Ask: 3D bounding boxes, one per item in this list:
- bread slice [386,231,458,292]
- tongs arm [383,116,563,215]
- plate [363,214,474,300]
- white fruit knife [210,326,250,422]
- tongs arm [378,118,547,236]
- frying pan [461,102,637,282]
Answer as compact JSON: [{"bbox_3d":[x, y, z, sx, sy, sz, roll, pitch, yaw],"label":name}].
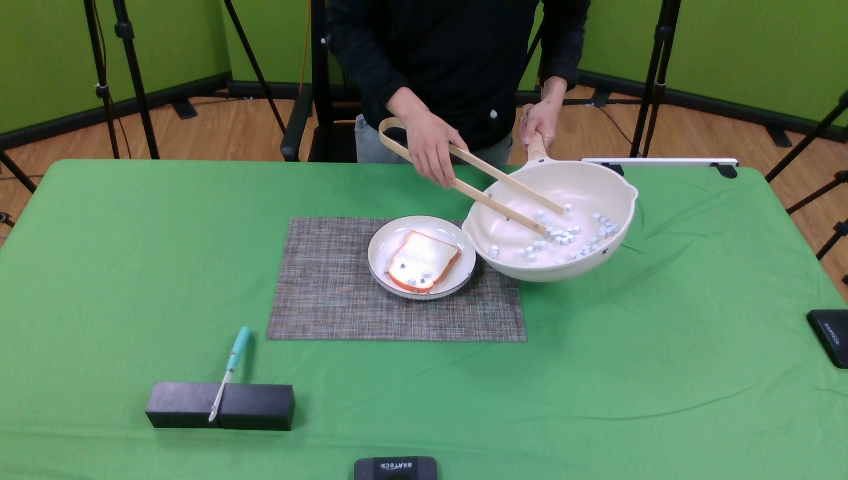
[{"bbox_3d":[-0.007,0.043,1.142,0.107,0.018,0.134,18,45,14],"label":"bread slice"},{"bbox_3d":[0.085,-0.144,1.130,0.386,0.028,0.028,31,66,17],"label":"tongs arm"},{"bbox_3d":[-0.010,0.036,1.146,0.208,0.039,0.206,3,46,-2],"label":"plate"},{"bbox_3d":[-0.301,0.201,0.942,0.016,0.027,0.206,0,32,-1],"label":"white fruit knife"},{"bbox_3d":[0.064,-0.120,1.114,0.383,0.026,0.050,30,62,17],"label":"tongs arm"},{"bbox_3d":[0.223,-0.111,1.143,0.306,0.103,0.484,-10,48,13],"label":"frying pan"}]
